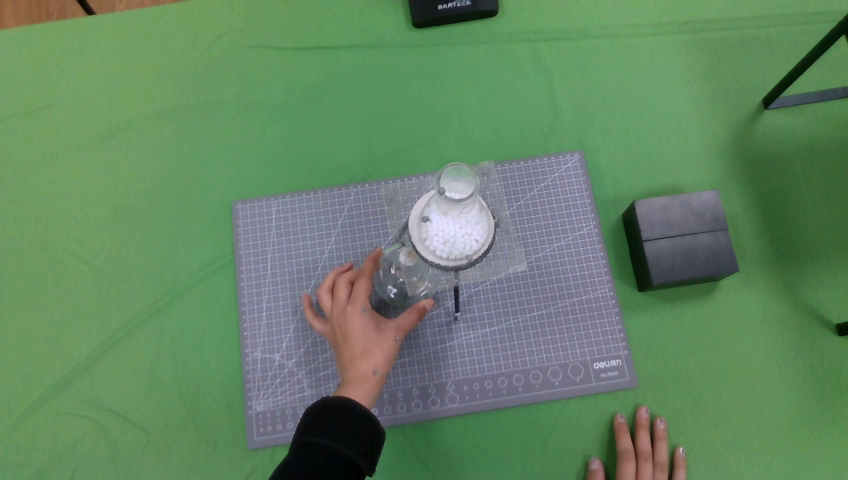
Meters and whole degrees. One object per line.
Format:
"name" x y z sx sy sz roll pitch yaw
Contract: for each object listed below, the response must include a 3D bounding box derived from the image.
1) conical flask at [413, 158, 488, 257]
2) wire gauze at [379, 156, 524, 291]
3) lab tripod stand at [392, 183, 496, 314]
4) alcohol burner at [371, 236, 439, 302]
"conical flask" 0.026 -0.034 0.555 0.075 0.122 0.075 0 73 0
"wire gauze" 0.027 -0.017 0.613 0.125 0.011 0.121 -13 77 -6
"lab tripod stand" 0.029 -0.002 0.676 0.148 0.132 0.147 0 73 1
"alcohol burner" -0.020 0.027 0.678 0.078 0.119 0.077 2 70 -4
